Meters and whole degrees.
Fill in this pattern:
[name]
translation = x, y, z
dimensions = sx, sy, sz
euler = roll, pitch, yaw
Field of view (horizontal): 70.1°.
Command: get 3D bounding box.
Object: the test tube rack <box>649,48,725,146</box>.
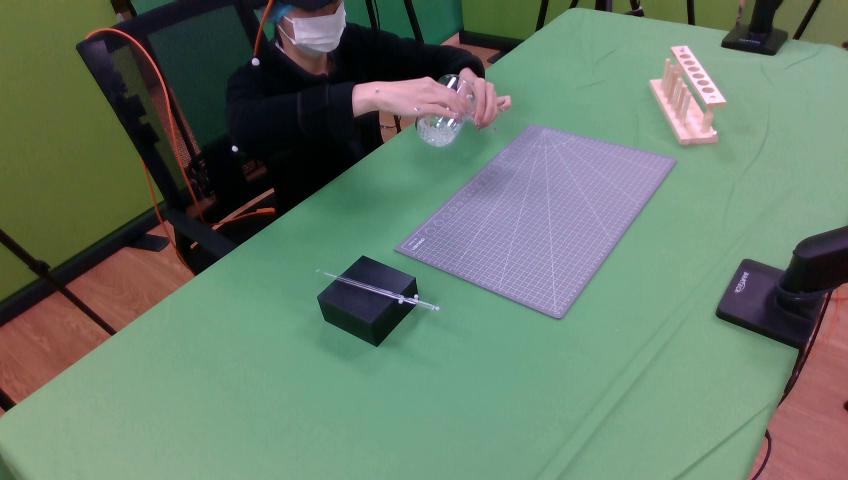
[test tube rack]
translation = 0.508, -0.285, 1.186
dimensions = 0.067, 0.085, 0.241
euler = -4, 40, 6

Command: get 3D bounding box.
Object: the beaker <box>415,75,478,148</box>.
[beaker]
translation = 0.035, -0.203, 0.976
dimensions = 0.073, 0.084, 0.100
euler = 10, 54, 29

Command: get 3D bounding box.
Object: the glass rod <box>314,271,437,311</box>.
[glass rod]
translation = -0.071, 0.069, 0.837
dimensions = 0.198, 0.008, 0.008
euler = 14, 44, 24

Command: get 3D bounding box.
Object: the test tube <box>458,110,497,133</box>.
[test tube]
translation = 0.100, -0.212, 1.092
dimensions = 0.017, 0.017, 0.151
euler = 17, 7, 27
